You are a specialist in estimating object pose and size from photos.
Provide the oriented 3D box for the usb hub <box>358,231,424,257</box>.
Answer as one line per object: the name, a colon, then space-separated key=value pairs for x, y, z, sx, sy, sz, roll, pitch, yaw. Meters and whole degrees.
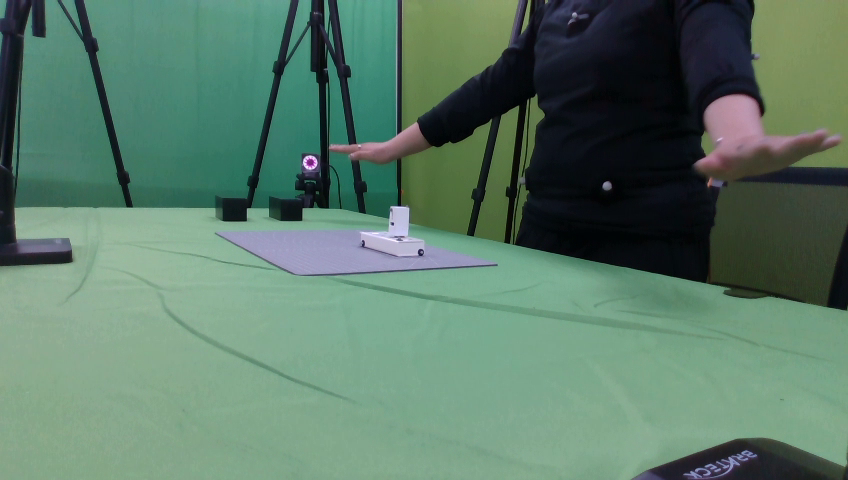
usb hub: x=-0.054 y=0.005 z=0.947 sx=0.050 sy=0.025 sz=0.124 roll=-3 pitch=9 yaw=-34

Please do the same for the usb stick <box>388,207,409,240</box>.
usb stick: x=-0.040 y=-0.021 z=0.931 sx=0.027 sy=0.059 sz=0.021 roll=-5 pitch=11 yaw=-37
